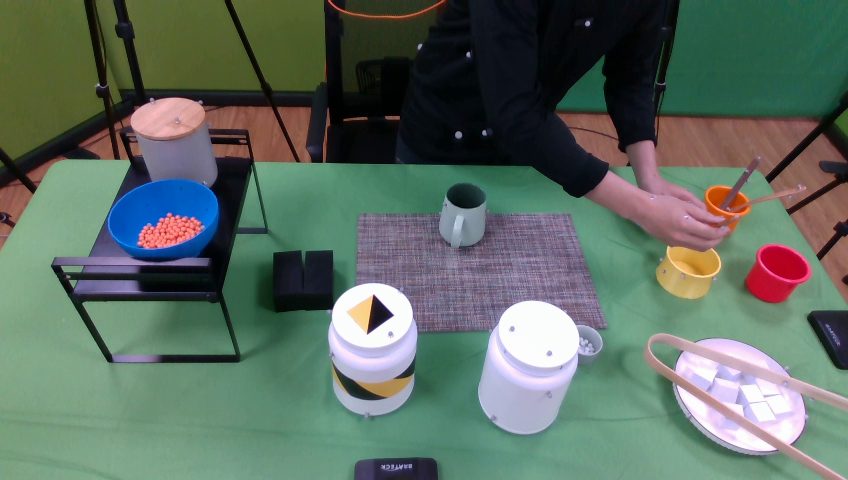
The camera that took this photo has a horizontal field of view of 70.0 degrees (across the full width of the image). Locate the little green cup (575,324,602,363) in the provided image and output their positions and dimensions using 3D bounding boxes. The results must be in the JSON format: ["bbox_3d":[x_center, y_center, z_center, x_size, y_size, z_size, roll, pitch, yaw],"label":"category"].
[{"bbox_3d":[0.269,0.179,1.036,0.061,0.039,0.061,3,46,-3],"label":"little green cup"}]

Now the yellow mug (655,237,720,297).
[{"bbox_3d":[0.509,0.041,1.167,0.099,0.064,0.130,23,48,18],"label":"yellow mug"}]

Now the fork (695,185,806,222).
[{"bbox_3d":[0.658,-0.074,1.229,0.207,0.019,0.028,-23,35,37],"label":"fork"}]

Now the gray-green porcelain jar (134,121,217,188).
[{"bbox_3d":[-0.397,-0.141,0.980,0.106,0.127,0.105,2,47,-2],"label":"gray-green porcelain jar"}]

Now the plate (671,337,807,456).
[{"bbox_3d":[0.503,0.254,0.984,0.208,0.039,0.206,2,46,-2],"label":"plate"}]

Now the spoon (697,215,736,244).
[{"bbox_3d":[0.483,-0.018,0.997,0.041,0.194,0.021,-18,73,11],"label":"spoon"}]

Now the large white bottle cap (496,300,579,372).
[{"bbox_3d":[0.160,0.133,0.852,0.115,0.018,0.114,3,46,-3],"label":"large white bottle cap"}]

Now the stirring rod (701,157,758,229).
[{"bbox_3d":[0.634,-0.096,1.257,0.014,0.006,0.176,38,97,29],"label":"stirring rod"}]

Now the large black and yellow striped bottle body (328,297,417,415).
[{"bbox_3d":[-0.078,0.167,0.920,0.131,0.185,0.130,2,46,-2],"label":"large black and yellow striped bottle body"}]

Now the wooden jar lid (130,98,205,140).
[{"bbox_3d":[-0.393,-0.183,0.934,0.108,0.021,0.107,2,44,-2],"label":"wooden jar lid"}]

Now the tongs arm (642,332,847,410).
[{"bbox_3d":[0.546,0.227,0.968,0.384,0.026,0.050,22,52,13],"label":"tongs arm"}]

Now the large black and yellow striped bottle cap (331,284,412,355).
[{"bbox_3d":[-0.073,0.110,0.858,0.115,0.019,0.114,2,46,-2],"label":"large black and yellow striped bottle cap"}]

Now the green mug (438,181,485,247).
[{"bbox_3d":[0.071,-0.039,1.177,0.092,0.105,0.124,12,47,7],"label":"green mug"}]

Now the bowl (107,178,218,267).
[{"bbox_3d":[-0.374,-0.014,0.893,0.151,0.077,0.150,2,46,-2],"label":"bowl"}]

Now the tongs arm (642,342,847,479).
[{"bbox_3d":[0.504,0.279,0.918,0.386,0.028,0.028,33,59,22],"label":"tongs arm"}]

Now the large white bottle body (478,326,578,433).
[{"bbox_3d":[0.156,0.192,0.913,0.131,0.185,0.130,2,46,-2],"label":"large white bottle body"}]
